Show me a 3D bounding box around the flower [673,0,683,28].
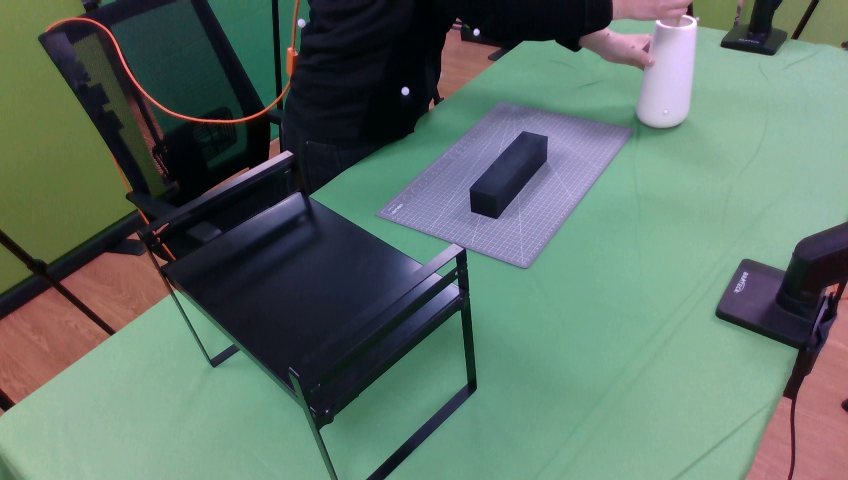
[{"bbox_3d":[0.427,-0.417,0.981,0.044,0.363,0.038,11,60,14],"label":"flower"}]

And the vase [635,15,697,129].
[{"bbox_3d":[0.457,-0.310,1.133,0.098,0.201,0.097,-4,42,4],"label":"vase"}]
